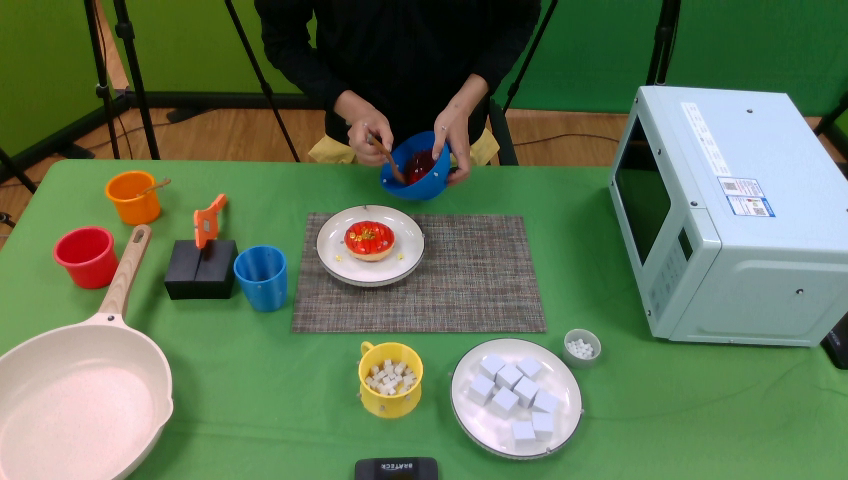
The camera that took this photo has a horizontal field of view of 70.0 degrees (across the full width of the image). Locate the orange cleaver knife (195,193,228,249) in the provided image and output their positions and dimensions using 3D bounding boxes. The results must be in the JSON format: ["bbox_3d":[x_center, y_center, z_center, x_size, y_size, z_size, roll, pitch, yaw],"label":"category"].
[{"bbox_3d":[-0.406,-0.041,1.163,0.012,0.077,0.210,0,18,-3],"label":"orange cleaver knife"}]

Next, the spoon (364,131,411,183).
[{"bbox_3d":[-0.066,-0.153,1.111,0.021,0.195,0.041,-36,61,2],"label":"spoon"}]

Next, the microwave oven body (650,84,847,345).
[{"bbox_3d":[0.569,-0.054,1.116,0.326,0.261,0.439,2,46,-1],"label":"microwave oven body"}]

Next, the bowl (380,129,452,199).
[{"bbox_3d":[-0.002,-0.132,1.165,0.151,0.077,0.150,-24,41,23],"label":"bowl"}]

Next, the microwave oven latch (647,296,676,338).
[{"bbox_3d":[0.413,0.133,1.060,0.030,0.029,0.078,4,46,1],"label":"microwave oven latch"}]

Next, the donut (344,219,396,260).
[{"bbox_3d":[-0.103,-0.003,1.157,0.099,0.048,0.098,3,43,-3],"label":"donut"}]

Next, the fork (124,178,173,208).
[{"bbox_3d":[-0.525,-0.089,1.154,0.207,0.019,0.028,-18,27,45],"label":"fork"}]

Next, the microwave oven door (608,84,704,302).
[{"bbox_3d":[0.424,-0.096,1.138,0.039,0.245,0.353,3,46,-1],"label":"microwave oven door"}]

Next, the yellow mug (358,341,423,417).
[{"bbox_3d":[-0.062,0.210,0.961,0.100,0.064,0.130,-29,54,-27],"label":"yellow mug"}]

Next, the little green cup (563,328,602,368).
[{"bbox_3d":[0.265,0.184,1.025,0.061,0.039,0.061,2,46,-1],"label":"little green cup"}]

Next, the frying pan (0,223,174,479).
[{"bbox_3d":[-0.505,0.169,0.941,0.307,0.103,0.485,5,54,-1],"label":"frying pan"}]

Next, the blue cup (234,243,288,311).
[{"bbox_3d":[-0.276,0.072,1.052,0.093,0.101,0.092,1,48,-1],"label":"blue cup"}]

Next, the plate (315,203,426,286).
[{"bbox_3d":[-0.101,0.012,1.159,0.209,0.038,0.208,2,46,-2],"label":"plate"}]

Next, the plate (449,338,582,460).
[{"bbox_3d":[0.141,0.251,0.955,0.208,0.039,0.206,2,46,-2],"label":"plate"}]
